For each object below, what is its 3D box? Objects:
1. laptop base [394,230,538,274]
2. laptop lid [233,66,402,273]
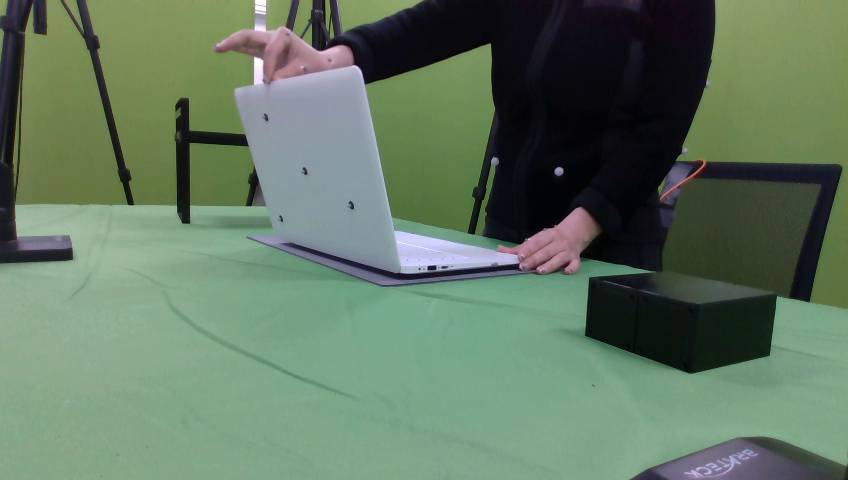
[{"bbox_3d":[-0.037,0.014,0.895,0.237,0.023,0.352,1,7,-38],"label":"laptop base"},{"bbox_3d":[-0.154,-0.091,0.787,0.013,0.242,0.355,-24,23,-33],"label":"laptop lid"}]
